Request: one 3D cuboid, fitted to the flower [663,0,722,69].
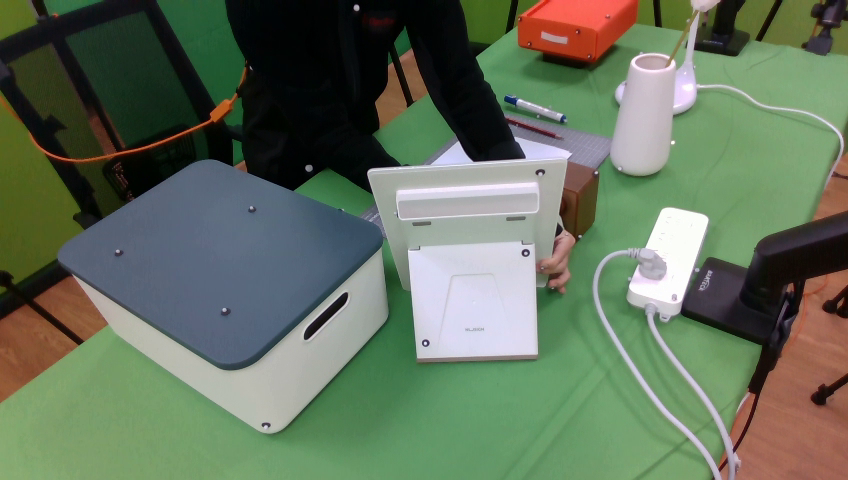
[{"bbox_3d":[0.379,-0.261,0.965,0.044,0.362,0.038,20,53,5],"label":"flower"}]

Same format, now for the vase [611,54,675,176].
[{"bbox_3d":[0.377,-0.209,1.031,0.098,0.201,0.097,-3,40,3],"label":"vase"}]

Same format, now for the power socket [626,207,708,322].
[{"bbox_3d":[0.359,0.026,0.886,0.072,0.033,0.227,16,46,26],"label":"power socket"}]

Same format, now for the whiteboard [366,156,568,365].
[{"bbox_3d":[0.059,0.050,0.738,0.217,0.307,0.143,-2,60,5],"label":"whiteboard"}]

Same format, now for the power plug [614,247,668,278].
[{"bbox_3d":[0.306,0.031,0.851,0.072,0.053,0.035,24,49,33],"label":"power plug"}]

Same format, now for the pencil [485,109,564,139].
[{"bbox_3d":[0.201,-0.235,1.228,0.192,0.012,0.012,28,51,33],"label":"pencil"}]

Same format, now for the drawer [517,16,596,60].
[{"bbox_3d":[0.352,-0.506,1.405,0.193,0.073,0.212,23,49,32],"label":"drawer"}]

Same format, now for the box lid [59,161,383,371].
[{"bbox_3d":[-0.262,0.010,0.777,0.369,0.015,0.264,21,48,29],"label":"box lid"}]

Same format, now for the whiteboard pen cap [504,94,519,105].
[{"bbox_3d":[0.190,-0.299,1.292,0.033,0.018,0.018,30,52,28],"label":"whiteboard pen cap"}]

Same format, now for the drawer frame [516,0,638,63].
[{"bbox_3d":[0.355,-0.508,1.410,0.200,0.083,0.214,23,51,32],"label":"drawer frame"}]

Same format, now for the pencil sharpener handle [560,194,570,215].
[{"bbox_3d":[0.195,-0.038,0.908,0.035,0.068,0.031,24,50,31],"label":"pencil sharpener handle"}]

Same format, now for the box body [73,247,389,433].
[{"bbox_3d":[-0.255,0.065,0.827,0.361,0.161,0.255,21,48,29],"label":"box body"}]

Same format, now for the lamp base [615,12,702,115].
[{"bbox_3d":[0.484,-0.363,1.211,0.180,0.181,0.159,-15,41,-14],"label":"lamp base"}]

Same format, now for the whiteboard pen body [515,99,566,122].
[{"bbox_3d":[0.233,-0.274,1.262,0.139,0.017,0.017,28,51,29],"label":"whiteboard pen body"}]

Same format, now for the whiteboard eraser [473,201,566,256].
[{"bbox_3d":[0.126,-0.011,0.803,0.112,0.056,0.041,-19,58,28],"label":"whiteboard eraser"}]

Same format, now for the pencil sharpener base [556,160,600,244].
[{"bbox_3d":[0.228,-0.057,0.945,0.061,0.107,0.077,24,50,31],"label":"pencil sharpener base"}]
